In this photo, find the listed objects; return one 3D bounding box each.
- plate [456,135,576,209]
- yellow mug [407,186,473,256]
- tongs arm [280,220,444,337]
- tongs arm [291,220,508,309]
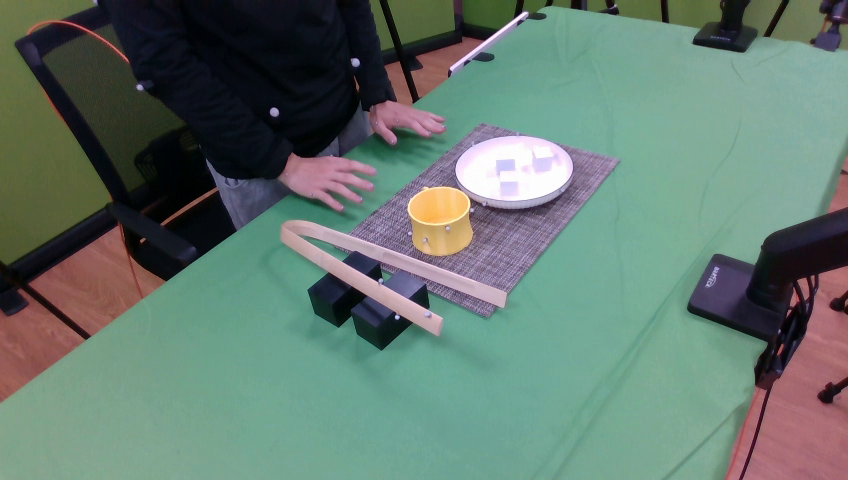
[{"bbox_3d":[0.161,-0.116,1.064,0.207,0.039,0.206,-4,40,4],"label":"plate"},{"bbox_3d":[0.021,-0.041,0.973,0.100,0.064,0.129,-19,41,-12],"label":"yellow mug"},{"bbox_3d":[-0.101,0.043,0.861,0.381,0.026,0.051,24,24,38],"label":"tongs arm"},{"bbox_3d":[-0.049,0.031,0.924,0.385,0.028,0.028,18,25,26],"label":"tongs arm"}]
